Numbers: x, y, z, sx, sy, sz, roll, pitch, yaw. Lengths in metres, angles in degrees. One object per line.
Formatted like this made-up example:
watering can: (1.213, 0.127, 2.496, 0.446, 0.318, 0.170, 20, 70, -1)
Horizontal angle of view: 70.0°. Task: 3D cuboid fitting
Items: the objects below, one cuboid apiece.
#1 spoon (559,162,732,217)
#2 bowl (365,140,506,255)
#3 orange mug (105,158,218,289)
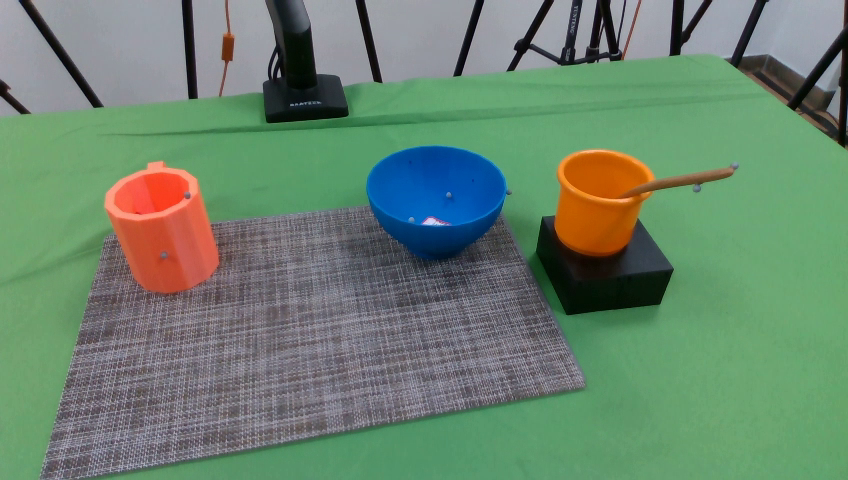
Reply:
spoon: (0.193, -0.046, 0.556, 0.041, 0.193, 0.021, -27, 92, -27)
bowl: (0.011, -0.037, 0.664, 0.151, 0.077, 0.150, 1, 41, -1)
orange mug: (-0.269, -0.026, 0.628, 0.083, 0.101, 0.124, -12, 47, -14)
